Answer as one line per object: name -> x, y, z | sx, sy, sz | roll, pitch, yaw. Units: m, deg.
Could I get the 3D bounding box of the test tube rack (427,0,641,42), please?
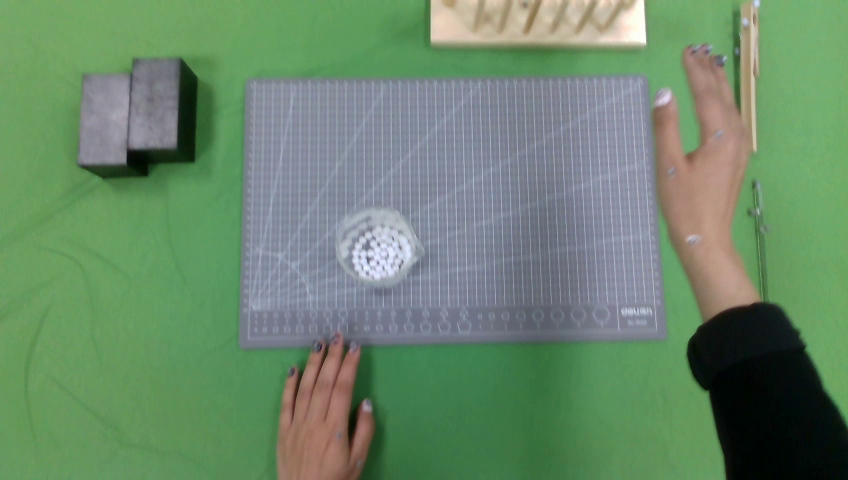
test tube rack -> 0.125, -0.265, 0.655 | 0.242, 0.085, 0.066 | 0, 81, -1

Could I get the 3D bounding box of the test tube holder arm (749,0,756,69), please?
test tube holder arm -> 0.368, -0.236, 0.689 | 0.010, 0.015, 0.087 | 10, 80, -31

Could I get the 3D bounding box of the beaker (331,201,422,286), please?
beaker -> -0.044, 0.008, 0.602 | 0.084, 0.100, 0.074 | 8, 82, 0

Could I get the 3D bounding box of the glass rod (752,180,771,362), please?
glass rod -> 0.364, 0.031, 0.656 | 0.008, 0.008, 0.199 | 1, 82, -1

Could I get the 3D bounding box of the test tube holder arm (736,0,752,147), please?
test tube holder arm -> 0.360, -0.192, 0.680 | 0.013, 0.015, 0.178 | 9, 81, -31
